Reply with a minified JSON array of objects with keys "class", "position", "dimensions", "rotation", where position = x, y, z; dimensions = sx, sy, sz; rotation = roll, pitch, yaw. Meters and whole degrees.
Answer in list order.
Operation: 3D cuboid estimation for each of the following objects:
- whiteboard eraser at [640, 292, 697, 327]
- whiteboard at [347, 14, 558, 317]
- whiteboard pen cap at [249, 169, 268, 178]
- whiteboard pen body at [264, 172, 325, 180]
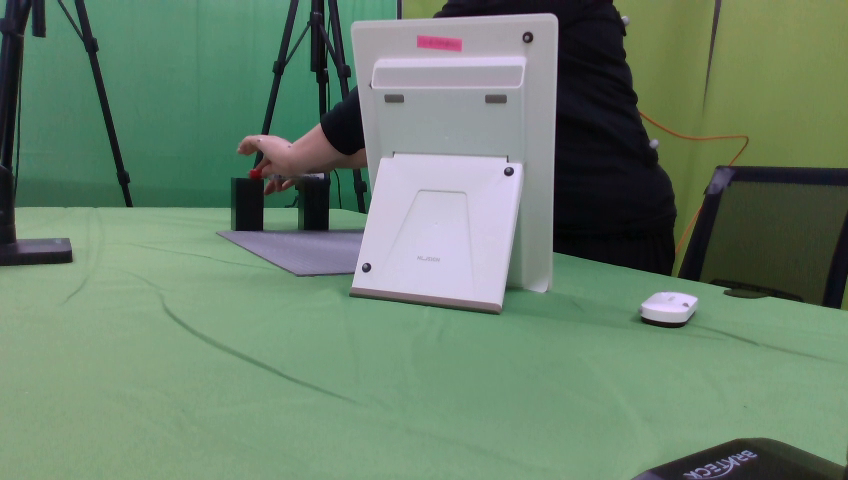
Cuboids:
[{"class":"whiteboard eraser","position":[0.240,0.066,0.590],"dimensions":[0.041,0.019,0.102],"rotation":[7,7,31]},{"class":"whiteboard","position":[0.012,-0.056,0.609],"dimensions":[0.216,0.305,0.144],"rotation":[5,27,20]},{"class":"whiteboard pen cap","position":[-0.316,-0.127,1.155],"dimensions":[0.032,0.017,0.017],"rotation":[0,7,-26]},{"class":"whiteboard pen body","position":[-0.264,-0.125,1.184],"dimensions":[0.141,0.017,0.017],"rotation":[-3,9,-24]}]
